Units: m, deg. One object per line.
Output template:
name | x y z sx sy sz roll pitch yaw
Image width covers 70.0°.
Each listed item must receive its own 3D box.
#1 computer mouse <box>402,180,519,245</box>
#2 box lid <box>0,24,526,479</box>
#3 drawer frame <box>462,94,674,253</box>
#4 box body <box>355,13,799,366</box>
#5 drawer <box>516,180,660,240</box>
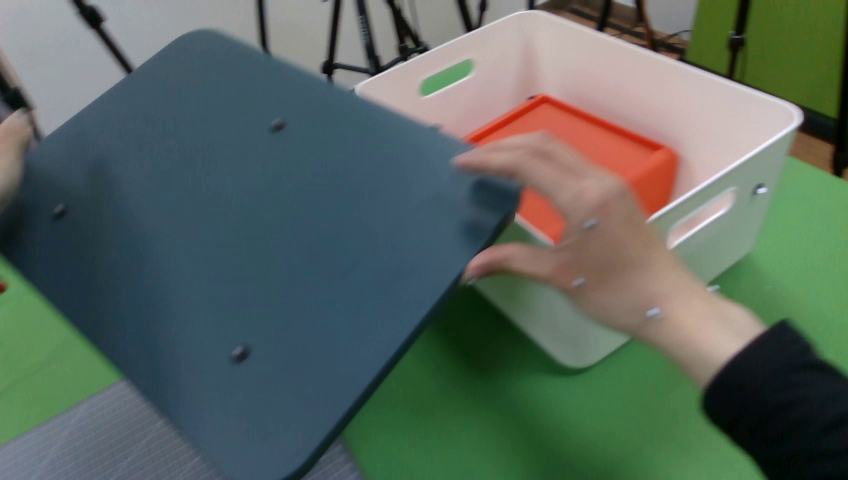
computer mouse | 0.038 -0.029 0.619 0.117 0.041 0.062 10 42 14
box lid | -0.140 -0.028 0.435 0.368 0.015 0.262 30 68 27
drawer frame | 0.114 -0.055 0.653 0.213 0.083 0.199 -33 45 -23
box body | 0.125 -0.074 0.620 0.254 0.162 0.360 -30 45 -19
drawer | 0.121 -0.065 0.652 0.212 0.074 0.192 -21 34 -34
